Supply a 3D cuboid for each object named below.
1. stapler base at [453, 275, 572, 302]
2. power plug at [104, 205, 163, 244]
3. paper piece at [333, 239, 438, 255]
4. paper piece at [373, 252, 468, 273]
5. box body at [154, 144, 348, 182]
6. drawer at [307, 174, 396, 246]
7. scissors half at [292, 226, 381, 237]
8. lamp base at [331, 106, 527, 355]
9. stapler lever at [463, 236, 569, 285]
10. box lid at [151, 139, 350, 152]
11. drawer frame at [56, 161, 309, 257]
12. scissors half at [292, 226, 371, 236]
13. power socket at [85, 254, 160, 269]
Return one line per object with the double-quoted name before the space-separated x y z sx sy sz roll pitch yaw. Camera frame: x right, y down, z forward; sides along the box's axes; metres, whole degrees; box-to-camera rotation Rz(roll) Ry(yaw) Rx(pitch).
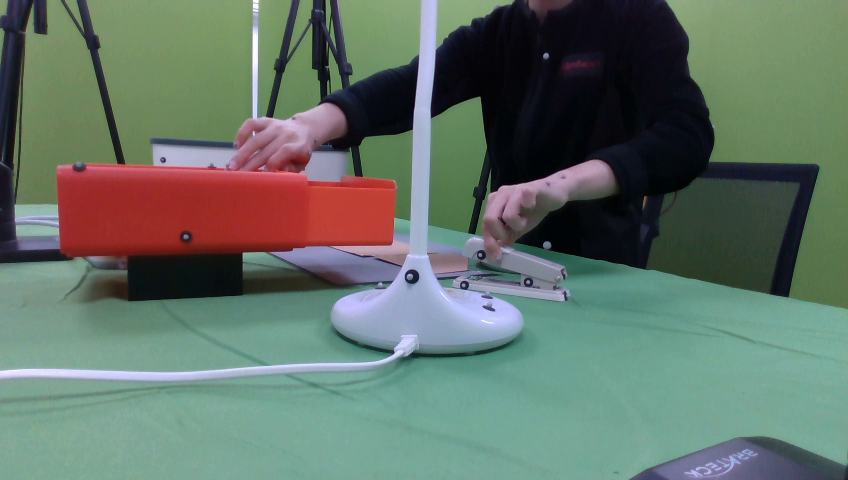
"stapler base" 0.097 0.047 0.670 0.130 0.024 0.041 7 12 23
"power plug" -0.390 -0.021 0.815 0.073 0.052 0.035 -1 7 -27
"paper piece" -0.068 0.011 0.937 0.136 0.004 0.134 -2 9 -34
"paper piece" 0.021 0.028 0.829 0.139 0.008 0.135 -1 11 -37
"box body" -0.357 -0.119 1.264 0.365 0.160 0.253 0 7 -18
"drawer" -0.162 -0.038 0.673 0.213 0.073 0.193 -2 9 -25
"scissors half" -0.153 -0.015 1.079 0.176 0.013 0.040 -7 2 -33
"lamp base" 0.006 -0.012 0.478 0.161 0.180 0.179 2 10 2
"stapler lever" 0.100 0.022 0.666 0.117 0.040 0.027 8 12 23
"box lid" -0.352 -0.191 1.255 0.373 0.015 0.262 0 8 -18
"drawer frame" -0.246 -0.038 0.630 0.214 0.082 0.200 -2 9 -25
"scissors half" -0.166 -0.015 1.094 0.040 0.013 0.176 3 7 39
"power socket" -0.409 0.004 0.793 0.072 0.032 0.225 -2 8 -38
